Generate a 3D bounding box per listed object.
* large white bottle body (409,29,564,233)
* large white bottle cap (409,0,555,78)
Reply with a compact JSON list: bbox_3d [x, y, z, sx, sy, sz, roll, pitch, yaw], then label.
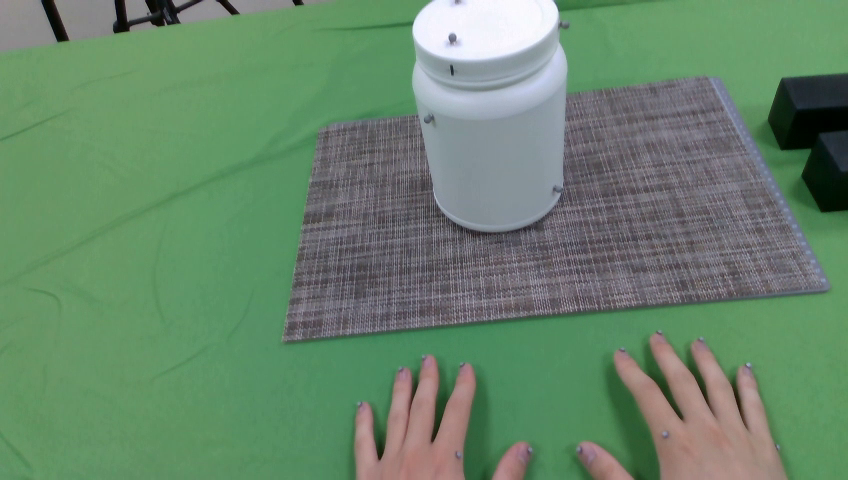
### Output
[{"bbox_3d":[0.058,-0.111,0.541,0.130,0.186,0.129,-5,49,7],"label":"large white bottle body"},{"bbox_3d":[0.045,-0.167,0.479,0.115,0.018,0.113,-5,48,6],"label":"large white bottle cap"}]
